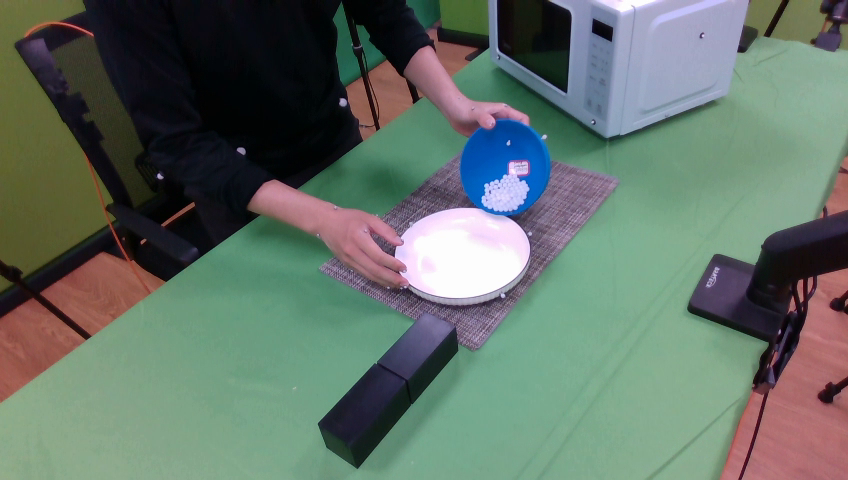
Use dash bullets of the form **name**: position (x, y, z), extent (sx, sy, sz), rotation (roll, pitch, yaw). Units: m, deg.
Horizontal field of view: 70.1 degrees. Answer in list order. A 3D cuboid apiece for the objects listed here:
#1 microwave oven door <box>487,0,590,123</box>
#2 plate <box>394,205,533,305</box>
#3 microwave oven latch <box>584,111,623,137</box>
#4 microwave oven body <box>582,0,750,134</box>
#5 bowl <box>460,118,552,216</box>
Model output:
- **microwave oven door**: position (0.232, -0.420, 1.230), extent (0.039, 0.245, 0.352), rotation (-22, 43, -16)
- **plate**: position (0.059, 0.025, 0.915), extent (0.207, 0.039, 0.206), rotation (-4, 41, 4)
- **microwave oven latch**: position (0.337, -0.222, 1.142), extent (0.030, 0.029, 0.078), rotation (-21, 42, -14)
- **microwave oven body**: position (0.382, -0.444, 1.246), extent (0.327, 0.261, 0.437), rotation (-22, 42, -16)
- **bowl**: position (0.141, -0.115, 0.961), extent (0.150, 0.151, 0.077), rotation (20, 16, 28)
